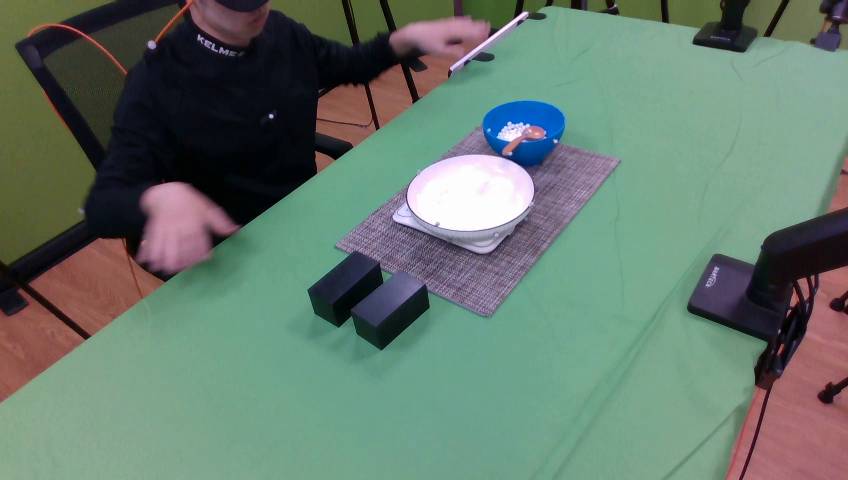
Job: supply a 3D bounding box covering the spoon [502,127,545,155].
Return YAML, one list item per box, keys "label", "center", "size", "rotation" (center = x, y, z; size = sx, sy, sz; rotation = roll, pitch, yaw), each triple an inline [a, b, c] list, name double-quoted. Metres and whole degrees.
- label: "spoon"
  center: [0.169, -0.173, 1.046]
  size: [0.041, 0.021, 0.194]
  rotation: [21, 25, 20]

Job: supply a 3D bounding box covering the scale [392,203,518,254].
- label: "scale"
  center: [0.060, -0.051, 1.006]
  size: [0.199, 0.032, 0.149]
  rotation: [22, 48, 30]

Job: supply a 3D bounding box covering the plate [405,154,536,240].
- label: "plate"
  center: [0.075, -0.067, 0.973]
  size: [0.209, 0.038, 0.208]
  rotation: [-4, 41, 4]

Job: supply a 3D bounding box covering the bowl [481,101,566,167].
- label: "bowl"
  center: [0.182, -0.186, 1.111]
  size: [0.151, 0.077, 0.150]
  rotation: [-4, 40, 4]
